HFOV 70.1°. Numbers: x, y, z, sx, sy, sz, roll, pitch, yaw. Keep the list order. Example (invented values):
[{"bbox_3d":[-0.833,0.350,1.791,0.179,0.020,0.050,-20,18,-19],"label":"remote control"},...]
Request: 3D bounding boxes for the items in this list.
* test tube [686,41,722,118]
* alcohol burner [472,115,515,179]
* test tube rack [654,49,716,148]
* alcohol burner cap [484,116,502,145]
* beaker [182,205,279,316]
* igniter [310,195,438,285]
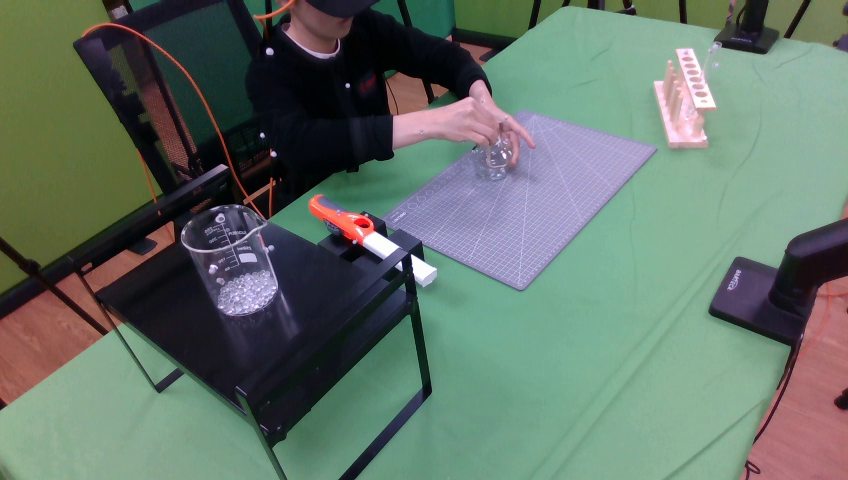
[{"bbox_3d":[0.510,-0.290,1.105,0.017,0.150,0.017,2,44,-1],"label":"test tube"},{"bbox_3d":[0.123,-0.169,1.079,0.078,0.119,0.077,-6,41,6],"label":"alcohol burner"},{"bbox_3d":[0.502,-0.280,1.176,0.066,0.085,0.241,1,41,11],"label":"test tube rack"},{"bbox_3d":[0.121,-0.193,1.057,0.034,0.048,0.033,-4,41,4],"label":"alcohol burner cap"},{"bbox_3d":[-0.197,0.024,0.641,0.084,0.101,0.073,-12,41,-6],"label":"beaker"},{"bbox_3d":[-0.086,-0.007,0.921,0.274,0.025,0.057,31,50,34],"label":"igniter"}]
